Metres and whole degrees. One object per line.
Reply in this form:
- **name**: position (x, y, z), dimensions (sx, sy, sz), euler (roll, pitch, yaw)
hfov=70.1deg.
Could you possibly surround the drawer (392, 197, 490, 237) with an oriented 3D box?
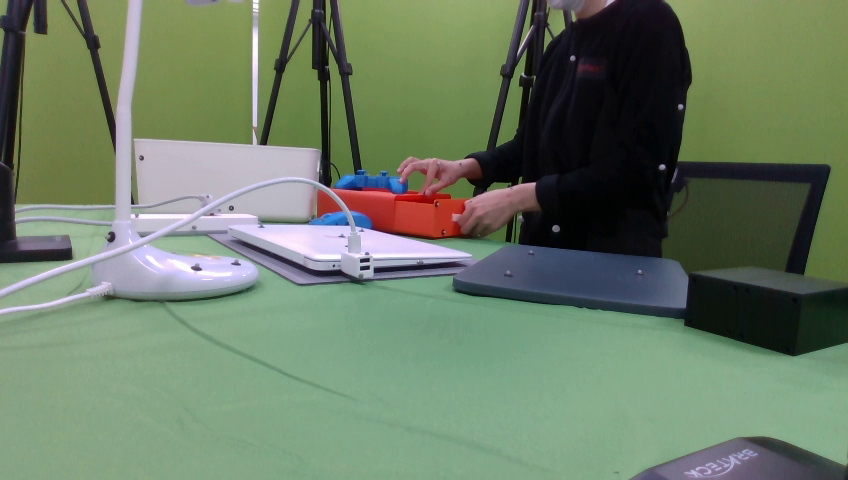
- **drawer**: position (-0.003, -0.056, 1.228), dimensions (0.211, 0.073, 0.195), euler (7, 9, 36)

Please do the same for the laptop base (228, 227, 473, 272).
- **laptop base**: position (-0.124, 0.011, 0.889), dimensions (0.237, 0.023, 0.352), euler (2, 6, -35)

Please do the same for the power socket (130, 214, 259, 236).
- **power socket**: position (-0.397, -0.028, 1.048), dimensions (0.228, 0.032, 0.072), euler (-3, 7, -35)

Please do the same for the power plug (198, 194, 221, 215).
- **power plug**: position (-0.386, -0.055, 1.088), dimensions (0.035, 0.052, 0.072), euler (-2, 7, -24)

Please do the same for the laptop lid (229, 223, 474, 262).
- **laptop lid**: position (-0.121, 0.000, 0.888), dimensions (0.243, 0.013, 0.355), euler (1, 7, -33)

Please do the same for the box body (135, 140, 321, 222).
- **box body**: position (-0.420, -0.133, 1.354), dimensions (0.365, 0.160, 0.253), euler (2, 7, -8)

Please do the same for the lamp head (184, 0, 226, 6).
- **lamp head**: position (-0.229, -0.320, 0.627), dimensions (0.112, 0.112, 0.123), euler (6, -36, 26)

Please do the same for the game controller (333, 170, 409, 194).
- **game controller**: position (-0.107, -0.121, 1.289), dimensions (0.155, 0.051, 0.097), euler (5, 5, 10)

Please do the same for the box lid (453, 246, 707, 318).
- **box lid**: position (0.204, 0.044, 0.780), dimensions (0.262, 0.015, 0.372), euler (5, 7, 17)

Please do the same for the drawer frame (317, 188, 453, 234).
- **drawer frame**: position (-0.082, -0.068, 1.283), dimensions (0.212, 0.082, 0.203), euler (7, 9, 35)

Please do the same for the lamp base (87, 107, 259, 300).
- **lamp base**: position (-0.254, -0.039, 0.603), dimensions (0.160, 0.180, 0.179), euler (5, 10, 18)

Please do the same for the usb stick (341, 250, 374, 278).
- **usb stick**: position (-0.078, 0.026, 0.686), dimensions (0.021, 0.027, 0.059), euler (-8, 8, -30)

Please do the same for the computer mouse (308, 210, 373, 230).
- **computer mouse**: position (-0.157, -0.033, 1.138), dimensions (0.118, 0.041, 0.062), euler (-6, 12, -28)
